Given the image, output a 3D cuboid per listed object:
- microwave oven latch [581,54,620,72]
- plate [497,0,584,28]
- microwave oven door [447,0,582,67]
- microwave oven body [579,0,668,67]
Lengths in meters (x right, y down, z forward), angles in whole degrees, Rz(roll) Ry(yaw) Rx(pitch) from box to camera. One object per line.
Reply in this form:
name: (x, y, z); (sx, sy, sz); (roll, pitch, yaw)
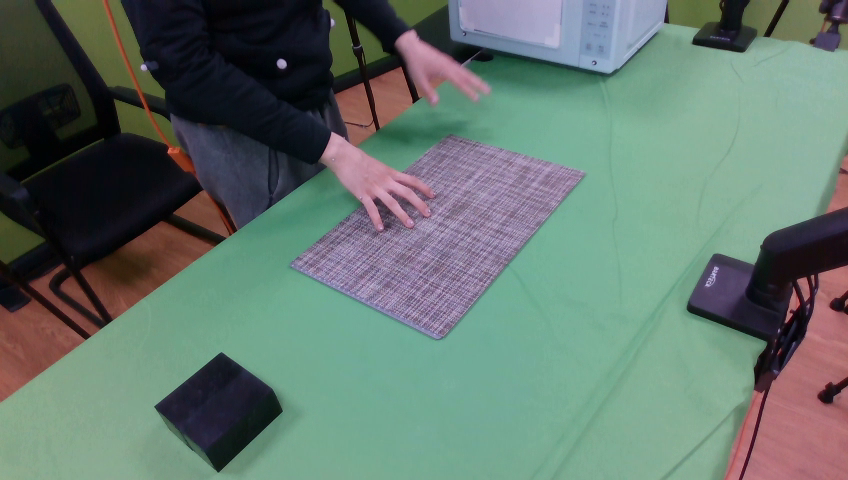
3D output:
microwave oven latch: (0.386, -0.393, 1.330); (0.078, 0.029, 0.030); (24, 51, 32)
plate: (0.286, -0.572, 1.488); (0.209, 0.038, 0.208); (-5, 42, 5)
microwave oven door: (0.203, -0.544, 1.372); (0.353, 0.245, 0.039); (23, 49, 29)
microwave oven body: (0.325, -0.609, 1.438); (0.438, 0.261, 0.327); (23, 50, 30)
